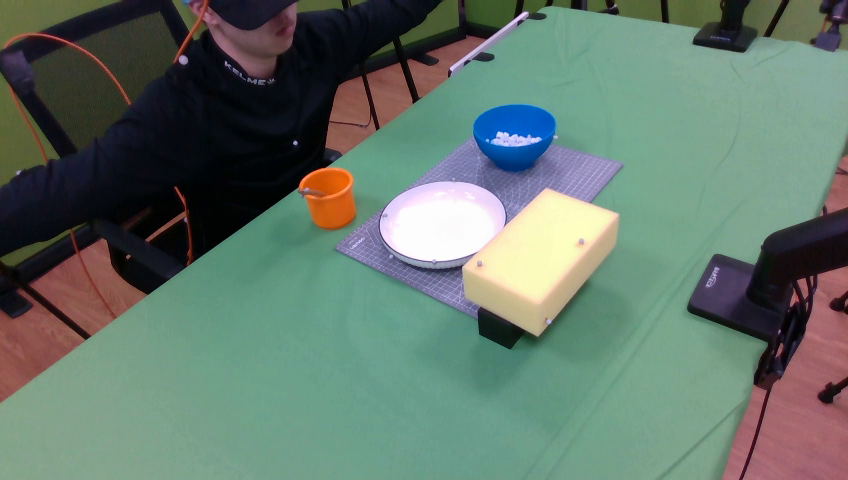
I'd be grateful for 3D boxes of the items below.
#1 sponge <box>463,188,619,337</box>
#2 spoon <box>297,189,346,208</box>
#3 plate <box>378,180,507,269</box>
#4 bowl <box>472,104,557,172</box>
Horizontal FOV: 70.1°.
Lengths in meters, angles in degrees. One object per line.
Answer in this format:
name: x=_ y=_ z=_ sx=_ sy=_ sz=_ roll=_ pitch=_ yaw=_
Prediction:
sponge: x=0.160 y=0.022 z=0.814 sx=0.117 sy=0.061 sz=0.207 roll=24 pitch=50 yaw=32
spoon: x=-0.169 y=-0.069 z=0.979 sx=0.041 sy=0.194 sz=0.021 roll=0 pitch=85 yaw=10
plate: x=0.031 y=-0.022 z=0.974 sx=0.209 sy=0.038 sz=0.208 roll=-4 pitch=40 yaw=4
bowl: x=0.165 y=-0.178 z=1.105 sx=0.151 sy=0.077 sz=0.150 roll=-4 pitch=40 yaw=4
